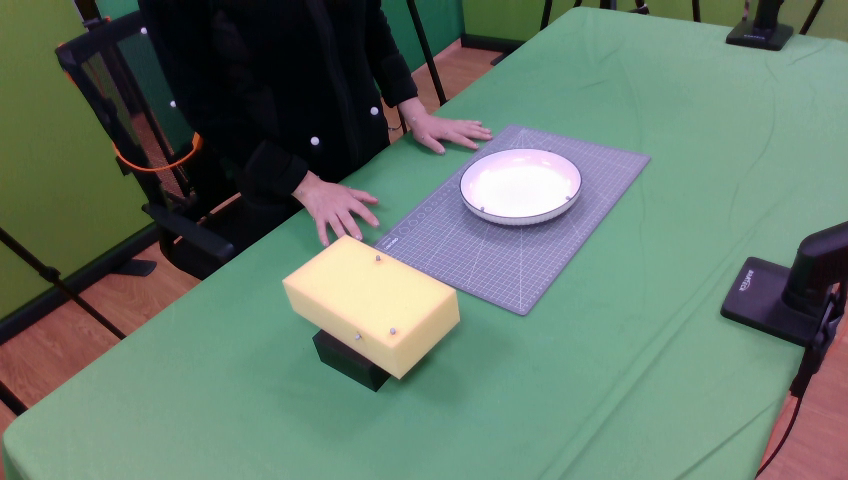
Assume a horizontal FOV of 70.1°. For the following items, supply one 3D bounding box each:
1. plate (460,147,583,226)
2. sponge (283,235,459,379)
[{"bbox_3d":[0.166,-0.089,1.043,0.209,0.038,0.208,-5,40,5],"label":"plate"},{"bbox_3d":[-0.071,0.081,0.798,0.205,0.061,0.118,25,51,34],"label":"sponge"}]
